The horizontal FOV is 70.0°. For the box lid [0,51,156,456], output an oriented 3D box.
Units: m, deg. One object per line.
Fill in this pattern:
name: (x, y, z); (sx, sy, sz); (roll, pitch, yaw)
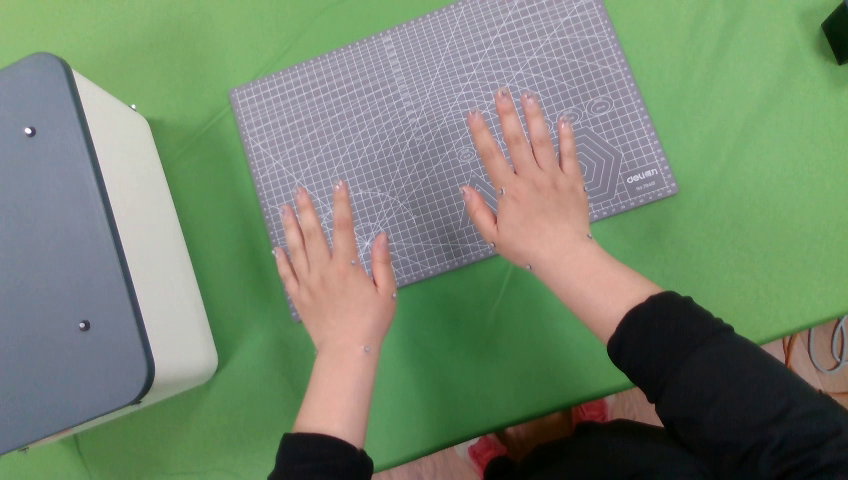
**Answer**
box lid: (-0.422, 0.016, 0.592); (0.263, 0.015, 0.370); (-22, 80, 6)

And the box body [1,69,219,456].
box body: (-0.409, 0.029, 0.664); (0.254, 0.161, 0.362); (-22, 80, 5)
